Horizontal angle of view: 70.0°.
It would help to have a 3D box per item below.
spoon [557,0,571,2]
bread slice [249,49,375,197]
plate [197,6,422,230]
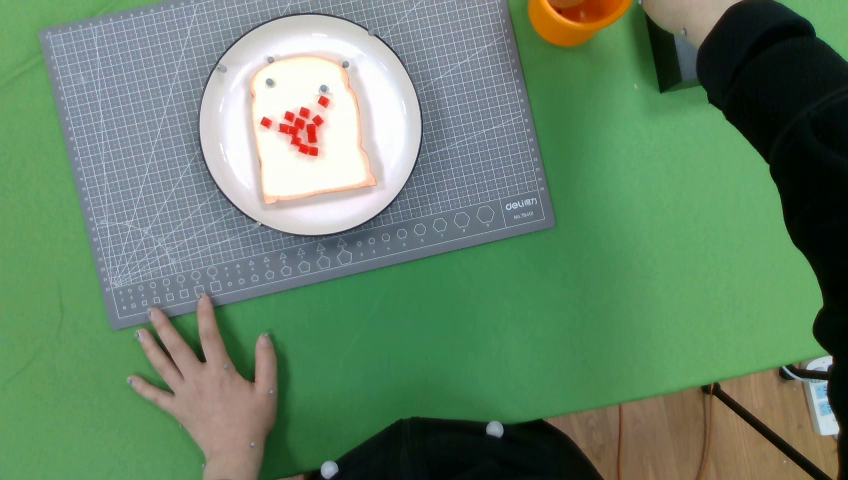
[{"bbox_3d":[0.182,-0.239,0.525,0.022,0.192,0.041,8,94,-38],"label":"spoon"},{"bbox_3d":[-0.114,-0.113,0.579,0.107,0.018,0.134,-13,91,-3],"label":"bread slice"},{"bbox_3d":[-0.105,-0.113,0.579,0.209,0.038,0.209,0,91,-2],"label":"plate"}]
